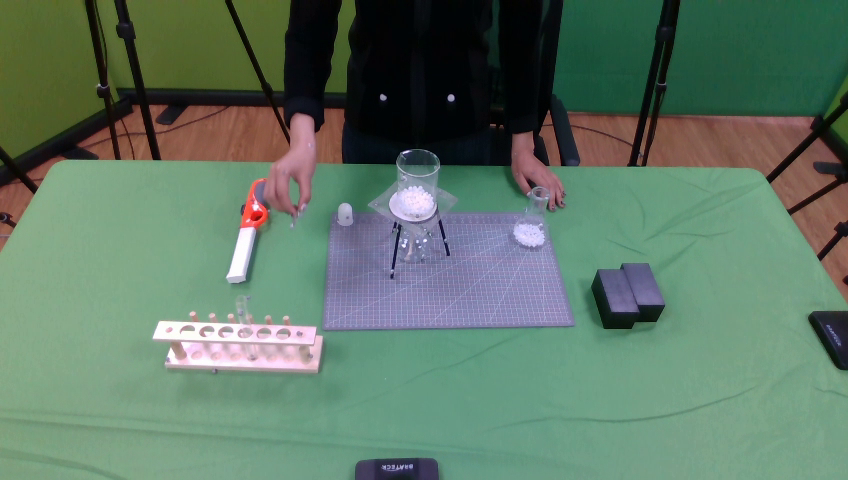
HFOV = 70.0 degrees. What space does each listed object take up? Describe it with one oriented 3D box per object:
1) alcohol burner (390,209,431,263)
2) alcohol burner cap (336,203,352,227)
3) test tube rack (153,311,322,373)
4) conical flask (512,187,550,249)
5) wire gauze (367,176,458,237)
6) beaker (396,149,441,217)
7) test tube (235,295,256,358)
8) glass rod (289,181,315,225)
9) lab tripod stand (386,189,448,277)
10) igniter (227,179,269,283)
[{"bbox_3d":[-0.024,-0.014,1.144,0.078,0.119,0.077,3,45,-3],"label":"alcohol burner"},{"bbox_3d":[-0.163,-0.053,1.221,0.034,0.048,0.033,1,46,-1],"label":"alcohol burner cap"},{"bbox_3d":[-0.293,0.160,0.978,0.242,0.085,0.066,3,46,-2],"label":"test tube rack"},{"bbox_3d":[0.217,-0.048,1.190,0.075,0.122,0.075,2,46,-2],"label":"conical flask"},{"bbox_3d":[-0.020,-0.066,1.089,0.124,0.011,0.121,27,47,22],"label":"wire gauze"},{"bbox_3d":[-0.015,-0.098,1.053,0.074,0.101,0.083,-32,55,-31],"label":"beaker"},{"bbox_3d":[-0.274,0.136,0.933,0.017,0.151,0.017,4,46,-4],"label":"test tube"},{"bbox_3d":[-0.217,-0.069,1.086,0.008,0.008,0.199,4,26,0],"label":"glass rod"},{"bbox_3d":[-0.021,-0.018,1.135,0.148,0.132,0.147,3,44,-3],"label":"lab tripod stand"},{"bbox_3d":[-0.345,-0.027,1.195,0.057,0.025,0.274,-6,46,5],"label":"igniter"}]
